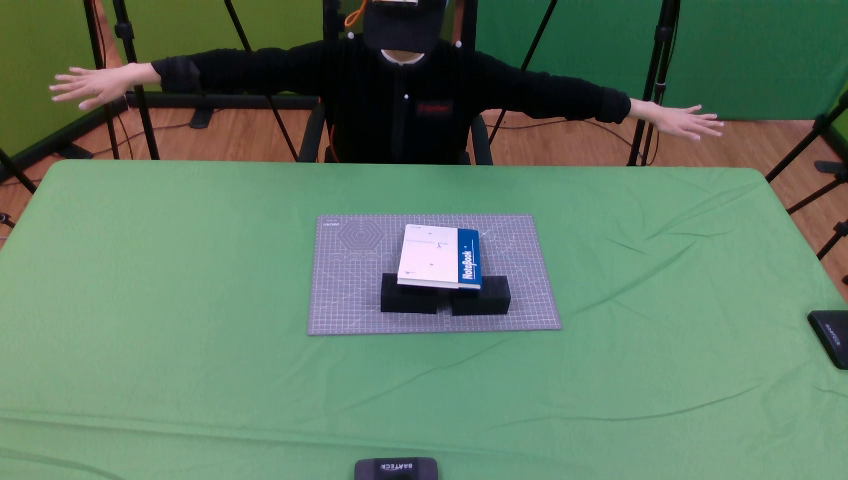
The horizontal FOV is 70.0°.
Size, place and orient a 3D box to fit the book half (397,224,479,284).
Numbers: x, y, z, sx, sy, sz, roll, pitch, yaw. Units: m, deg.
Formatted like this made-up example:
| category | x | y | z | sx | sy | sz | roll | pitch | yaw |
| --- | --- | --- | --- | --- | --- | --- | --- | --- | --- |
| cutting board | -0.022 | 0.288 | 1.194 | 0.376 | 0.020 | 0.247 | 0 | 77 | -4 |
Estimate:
| category | x | y | z | sx | sy | sz | roll | pitch | yaw |
| --- | --- | --- | --- | --- | --- | --- | --- | --- | --- |
| book half | 0.029 | 0.023 | 1.128 | 0.143 | 0.007 | 0.209 | 5 | 28 | 1 |
